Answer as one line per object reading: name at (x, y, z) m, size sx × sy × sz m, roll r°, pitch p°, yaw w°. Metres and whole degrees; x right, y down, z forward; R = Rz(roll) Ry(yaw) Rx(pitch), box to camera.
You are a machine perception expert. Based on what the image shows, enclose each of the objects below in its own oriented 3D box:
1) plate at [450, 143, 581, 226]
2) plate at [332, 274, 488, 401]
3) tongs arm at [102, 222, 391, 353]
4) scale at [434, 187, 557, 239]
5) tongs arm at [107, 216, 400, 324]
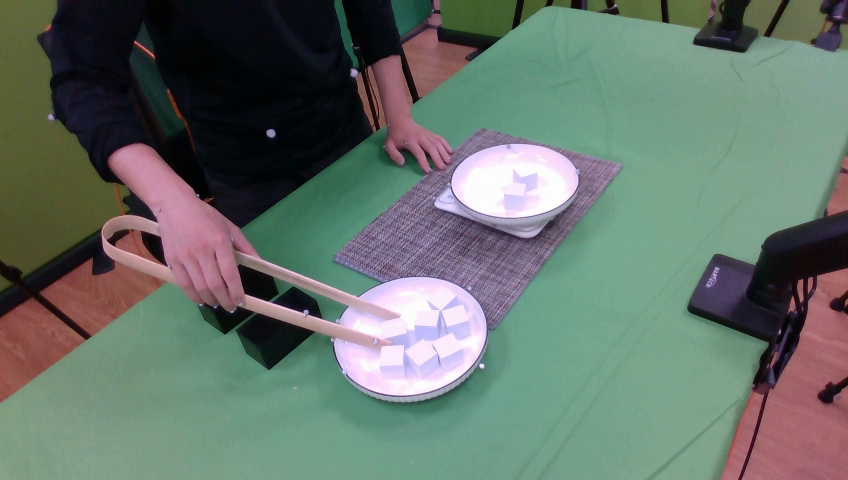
plate at (0.148, -0.087, 0.986) m, size 0.209 × 0.038 × 0.208 m, roll -4°, pitch 41°, yaw 4°
plate at (-0.017, 0.130, 0.808) m, size 0.207 × 0.039 × 0.206 m, roll -4°, pitch 41°, yaw 4°
tongs arm at (-0.223, 0.063, 0.771) m, size 0.386 × 0.026 × 0.050 m, roll 19°, pitch 48°, yaw -8°
scale at (0.132, -0.075, 1.025) m, size 0.199 × 0.032 × 0.149 m, roll 22°, pitch 48°, yaw 30°
tongs arm at (-0.216, 0.042, 0.792) m, size 0.388 × 0.028 × 0.028 m, roll 20°, pitch 51°, yaw -6°
